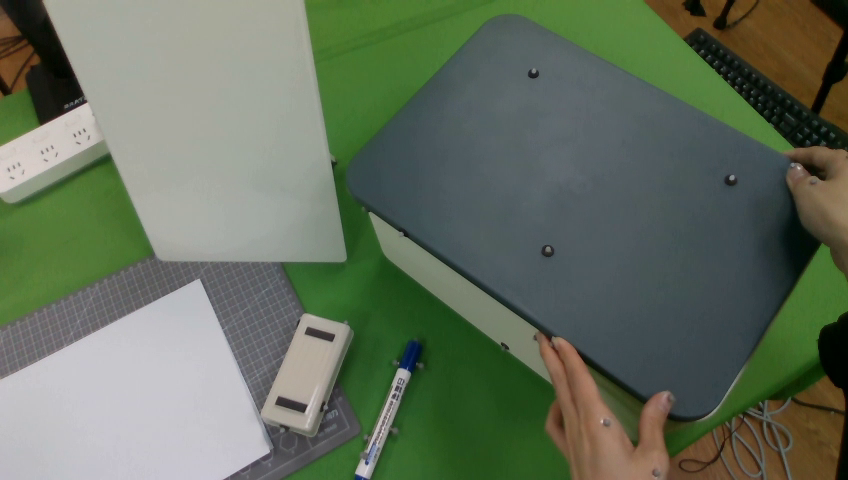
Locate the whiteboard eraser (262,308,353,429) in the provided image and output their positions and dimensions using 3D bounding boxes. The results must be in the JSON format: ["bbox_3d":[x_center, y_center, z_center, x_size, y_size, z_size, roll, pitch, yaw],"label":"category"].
[{"bbox_3d":[-0.115,0.128,0.609,0.055,0.042,0.112,13,65,10],"label":"whiteboard eraser"}]

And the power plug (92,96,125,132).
[{"bbox_3d":[-0.382,-0.144,0.739,0.035,0.053,0.072,-23,71,-9],"label":"power plug"}]

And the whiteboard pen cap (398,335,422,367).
[{"bbox_3d":[-0.015,0.116,0.628,0.018,0.018,0.033,17,67,12],"label":"whiteboard pen cap"}]

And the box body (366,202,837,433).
[{"bbox_3d":[0.147,-0.015,0.604,0.362,0.161,0.253,36,70,18],"label":"box body"}]

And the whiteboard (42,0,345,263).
[{"bbox_3d":[-0.197,-0.135,0.634,0.217,0.308,0.142,1,43,4],"label":"whiteboard"}]

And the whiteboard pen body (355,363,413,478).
[{"bbox_3d":[-0.035,0.166,0.605,0.017,0.017,0.140,18,66,12],"label":"whiteboard pen body"}]

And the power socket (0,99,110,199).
[{"bbox_3d":[-0.440,-0.129,0.759,0.227,0.033,0.071,-32,67,-13],"label":"power socket"}]

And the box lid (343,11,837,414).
[{"bbox_3d":[0.135,-0.054,0.534,0.369,0.015,0.263,35,71,18],"label":"box lid"}]
